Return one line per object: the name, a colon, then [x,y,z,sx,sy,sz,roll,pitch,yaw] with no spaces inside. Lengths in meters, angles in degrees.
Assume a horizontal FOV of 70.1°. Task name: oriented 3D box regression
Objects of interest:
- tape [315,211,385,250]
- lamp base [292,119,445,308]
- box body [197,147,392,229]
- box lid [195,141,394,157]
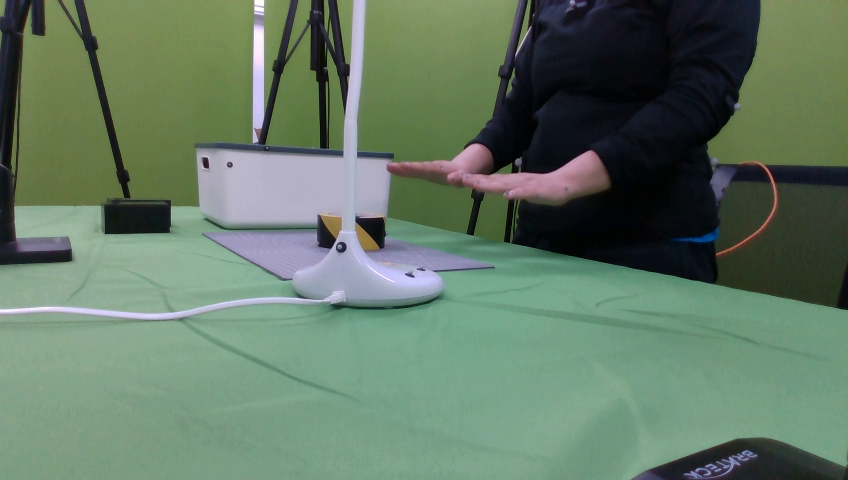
tape: [-0.119,-0.017,0.973,0.117,0.052,0.117,2,7,0]
lamp base: [-0.056,-0.030,0.616,0.160,0.180,0.179,3,10,8]
box body: [-0.278,-0.117,1.292,0.366,0.160,0.253,-2,8,-30]
box lid: [-0.277,-0.190,1.282,0.373,0.015,0.262,-1,8,-30]
